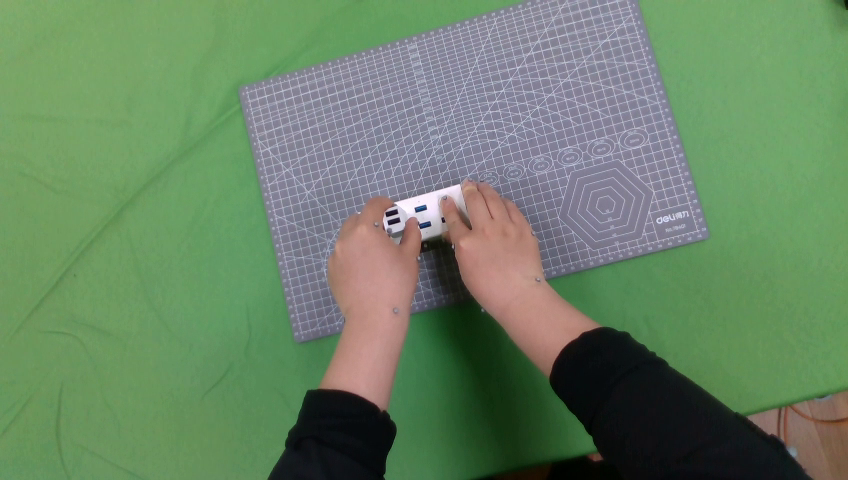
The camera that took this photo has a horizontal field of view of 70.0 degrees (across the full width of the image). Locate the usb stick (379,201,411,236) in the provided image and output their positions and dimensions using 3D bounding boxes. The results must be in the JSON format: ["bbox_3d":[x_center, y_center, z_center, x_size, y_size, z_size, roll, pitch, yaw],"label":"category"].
[{"bbox_3d":[-0.028,-0.020,0.618,0.021,0.059,0.027,-19,79,4],"label":"usb stick"}]

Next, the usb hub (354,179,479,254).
[{"bbox_3d":[-0.008,-0.026,0.645,0.125,0.025,0.049,-15,82,5],"label":"usb hub"}]
